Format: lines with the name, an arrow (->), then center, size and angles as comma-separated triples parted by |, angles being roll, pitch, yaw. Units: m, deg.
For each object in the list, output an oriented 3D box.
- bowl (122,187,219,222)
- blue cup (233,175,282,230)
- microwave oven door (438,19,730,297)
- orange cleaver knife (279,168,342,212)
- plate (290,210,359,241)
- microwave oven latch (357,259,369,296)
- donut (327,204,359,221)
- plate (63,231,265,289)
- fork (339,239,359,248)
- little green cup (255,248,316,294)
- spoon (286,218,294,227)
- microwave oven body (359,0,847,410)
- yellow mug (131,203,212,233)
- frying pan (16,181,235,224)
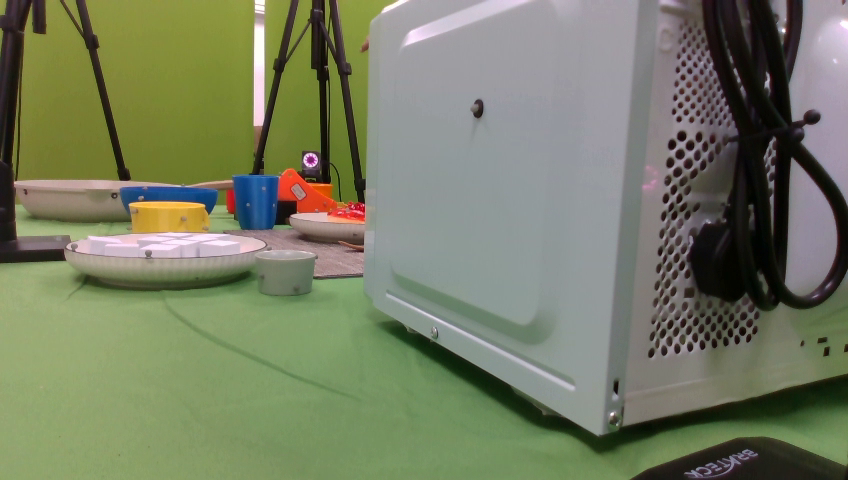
bowl -> -0.421, -0.046, 1.012 | 0.151, 0.077, 0.151 | 2, 8, 0
blue cup -> -0.314, -0.071, 1.141 | 0.093, 0.100, 0.092 | 0, 7, 0
microwave oven door -> 0.181, -0.076, 0.618 | 0.358, 0.243, 0.039 | -2, 8, -28
orange cleaver knife -> -0.236, -0.084, 1.332 | 0.212, 0.077, 0.012 | 31, -10, -31
plate -> -0.127, -0.025, 1.051 | 0.209, 0.038, 0.209 | 2, 7, 0
microwave oven latch -> -0.019, 0.031, 0.529 | 0.079, 0.029, 0.030 | -1, 7, -26
donut -> -0.120, -0.037, 1.056 | 0.099, 0.048, 0.099 | 5, 6, 0
plate -> -0.288, 0.021, 0.687 | 0.208, 0.039, 0.207 | 2, 8, 0
fork -> -0.027, 0.003, 0.925 | 0.208, 0.018, 0.028 | -2, -1, -19
little green cup -> -0.144, 0.032, 0.627 | 0.061, 0.038, 0.061 | 4, 7, 0
spoon -> -0.180, -0.036, 1.209 | 0.195, 0.021, 0.041 | -4, -13, -31
microwave oven body -> 0.210, -0.051, 0.471 | 0.444, 0.260, 0.324 | -1, 7, -28
yellow mug -> -0.356, -0.020, 0.878 | 0.099, 0.064, 0.131 | 5, 7, 22
frying pan -> -0.554, -0.097, 1.266 | 0.490, 0.102, 0.305 | -10, 13, -24
